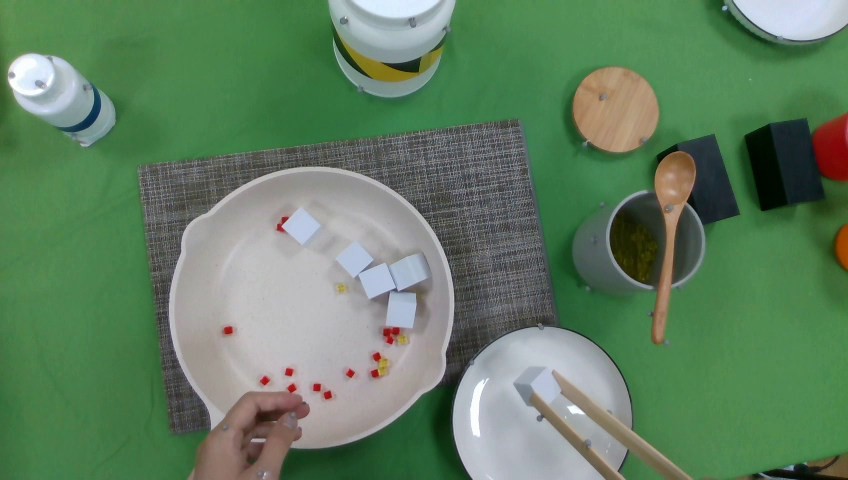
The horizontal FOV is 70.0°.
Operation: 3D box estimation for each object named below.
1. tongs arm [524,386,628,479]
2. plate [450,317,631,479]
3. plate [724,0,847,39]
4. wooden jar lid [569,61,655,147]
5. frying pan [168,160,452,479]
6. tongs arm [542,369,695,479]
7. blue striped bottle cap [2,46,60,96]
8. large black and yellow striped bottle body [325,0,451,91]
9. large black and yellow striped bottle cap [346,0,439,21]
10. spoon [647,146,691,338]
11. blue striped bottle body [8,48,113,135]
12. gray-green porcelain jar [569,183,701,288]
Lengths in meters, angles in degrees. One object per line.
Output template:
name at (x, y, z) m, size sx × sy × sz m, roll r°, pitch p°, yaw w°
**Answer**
tongs arm at (0.246, 0.263, 0.552) m, size 0.051 × 0.027 × 0.381 m, roll -27°, pitch 56°, yaw -32°
plate at (0.131, 0.191, 0.692) m, size 0.208 × 0.039 × 0.207 m, roll 1°, pitch 86°, yaw -7°
plate at (0.465, -0.357, 0.783) m, size 0.209 × 0.038 × 0.208 m, roll 1°, pitch 84°, yaw -6°
wooden jar lid at (0.230, -0.166, 0.749) m, size 0.108 × 0.020 × 0.108 m, roll 1°, pitch 86°, yaw -6°
frying pan at (-0.170, 0.148, 0.630) m, size 0.307 × 0.103 × 0.486 m, roll 32°, pitch 74°, yaw -1°
tongs arm at (0.263, 0.253, 0.565) m, size 0.384 × 0.028 × 0.028 m, roll 39°, pitch 47°, yaw 26°
blue striped bottle cap at (-0.377, -0.163, 0.581) m, size 0.044 × 0.020 × 0.044 m, roll 1°, pitch 86°, yaw -6°
large black and yellow striped bottle body at (-0.039, -0.251, 0.647) m, size 0.131 × 0.184 × 0.130 m, roll 1°, pitch 83°, yaw -6°
large black and yellow striped bottle cap at (-0.030, -0.262, 0.564) m, size 0.115 × 0.019 × 0.114 m, roll 1°, pitch 86°, yaw -6°
spoon at (0.240, 0.002, 0.610) m, size 0.042 × 0.021 × 0.193 m, roll 7°, pitch 87°, yaw -9°
blue striped bottle body at (-0.381, -0.156, 0.631) m, size 0.063 × 0.121 × 0.063 m, roll 1°, pitch 83°, yaw -6°
gray-green porcelain jar at (0.227, 0.000, 0.679) m, size 0.106 × 0.126 × 0.105 m, roll 1°, pitch 84°, yaw -6°
